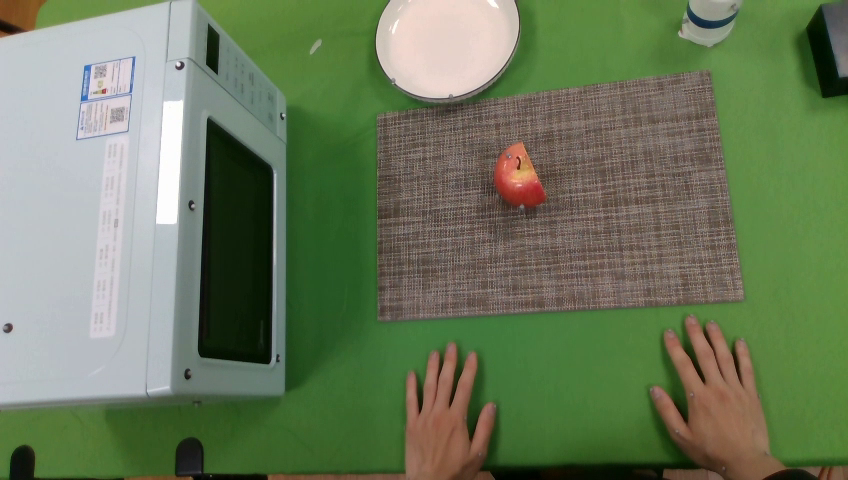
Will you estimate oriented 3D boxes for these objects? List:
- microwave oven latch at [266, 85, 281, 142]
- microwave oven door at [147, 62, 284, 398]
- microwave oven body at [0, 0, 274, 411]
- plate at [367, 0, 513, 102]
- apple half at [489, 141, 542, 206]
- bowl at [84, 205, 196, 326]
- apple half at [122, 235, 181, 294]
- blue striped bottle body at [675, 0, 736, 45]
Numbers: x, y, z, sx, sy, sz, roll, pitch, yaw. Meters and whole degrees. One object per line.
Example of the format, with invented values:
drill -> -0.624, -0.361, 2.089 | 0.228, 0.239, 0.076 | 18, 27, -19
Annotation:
microwave oven latch -> -0.223, -0.181, 0.874 | 0.030, 0.030, 0.078 | -6, 76, 11
microwave oven door -> -0.237, 0.006, 0.724 | 0.039, 0.245, 0.354 | -7, 75, 12
microwave oven body -> -0.380, -0.018, 0.768 | 0.325, 0.262, 0.439 | -6, 76, 11
plate -> 0.023, -0.288, 0.863 | 0.207, 0.039, 0.206 | -3, 76, 12
apple half -> 0.111, -0.077, 0.769 | 0.053, 0.075, 0.080 | -25, 76, 10
bowl -> -0.354, 0.035, 0.791 | 0.151, 0.077, 0.151 | -1, 86, 18
apple half -> -0.356, 0.032, 0.781 | 0.081, 0.033, 0.081 | 0, 88, 5
blue striped bottle body -> 0.351, -0.299, 0.746 | 0.063, 0.121, 0.062 | -3, 75, 13
